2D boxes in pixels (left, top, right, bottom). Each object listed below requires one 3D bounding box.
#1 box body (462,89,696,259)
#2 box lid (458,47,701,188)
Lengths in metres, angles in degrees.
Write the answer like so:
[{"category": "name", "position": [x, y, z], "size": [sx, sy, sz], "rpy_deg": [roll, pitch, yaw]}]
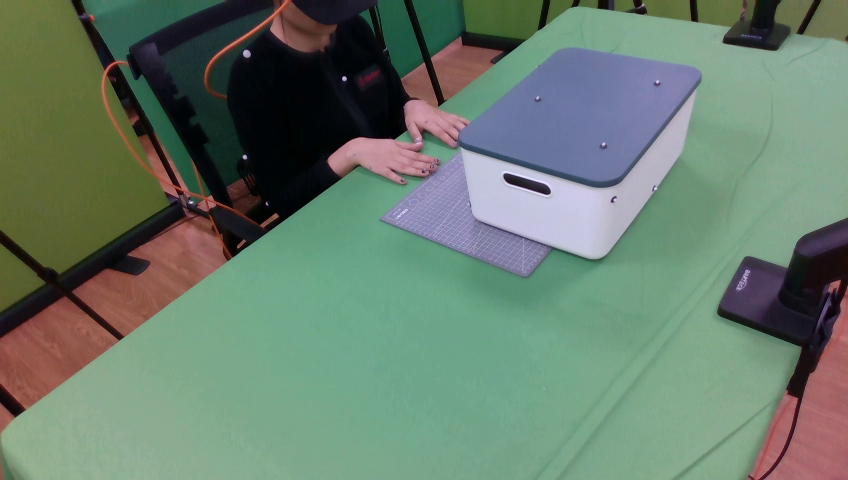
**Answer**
[{"category": "box body", "position": [0.261, -0.153, 1.001], "size": [0.252, 0.161, 0.365], "rpy_deg": [21, 48, 31]}, {"category": "box lid", "position": [0.253, -0.211, 0.954], "size": [0.261, 0.015, 0.372], "rpy_deg": [22, 49, 30]}]
